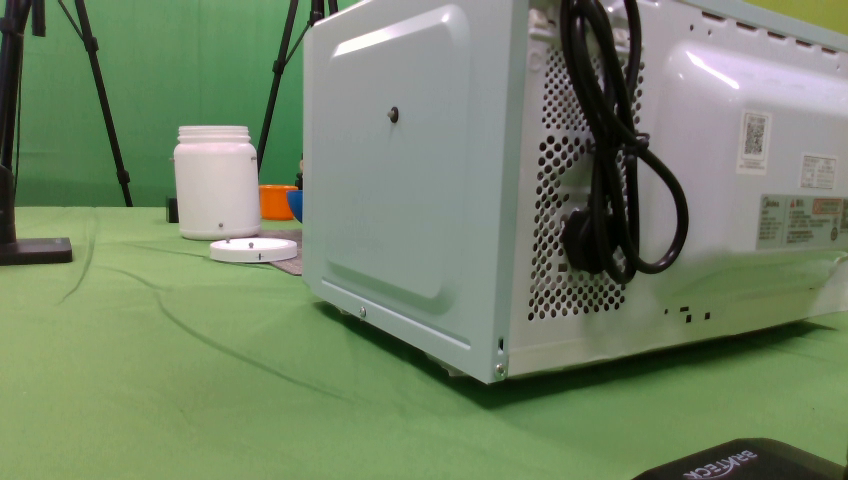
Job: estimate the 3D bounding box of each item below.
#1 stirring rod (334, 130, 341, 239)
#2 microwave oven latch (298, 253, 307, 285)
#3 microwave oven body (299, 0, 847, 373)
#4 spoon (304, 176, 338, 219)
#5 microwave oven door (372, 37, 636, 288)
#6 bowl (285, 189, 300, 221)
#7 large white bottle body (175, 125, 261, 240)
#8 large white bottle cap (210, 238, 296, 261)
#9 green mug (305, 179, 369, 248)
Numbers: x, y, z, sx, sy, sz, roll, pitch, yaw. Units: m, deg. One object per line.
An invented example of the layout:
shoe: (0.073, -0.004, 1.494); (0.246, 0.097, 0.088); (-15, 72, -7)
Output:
stirring rod: (-0.138, -0.087, 0.965); (0.006, 0.176, 0.014); (-2, 15, -9)
microwave oven latch: (-0.081, 0.027, 0.583); (0.079, 0.029, 0.030); (-2, 8, -33)
microwave oven body: (0.152, -0.055, 0.542); (0.444, 0.260, 0.324); (-2, 7, -33)
spoon: (-0.201, -0.084, 1.146); (0.042, 0.021, 0.193); (3, 30, -25)
microwave oven door: (0.109, -0.080, 0.686); (0.358, 0.243, 0.039); (-2, 9, -33)
bowl: (-0.180, -0.051, 1.113); (0.151, 0.077, 0.151); (2, 8, 0)
large white bottle body: (-0.349, -0.100, 1.025); (0.131, 0.184, 0.130); (-1, 9, 0)
large white bottle cap: (-0.236, 0.012, 0.839); (0.115, 0.018, 0.115); (1, 7, 0)
green mug: (-0.133, -0.045, 0.977); (0.092, 0.105, 0.126); (7, 9, 31)
